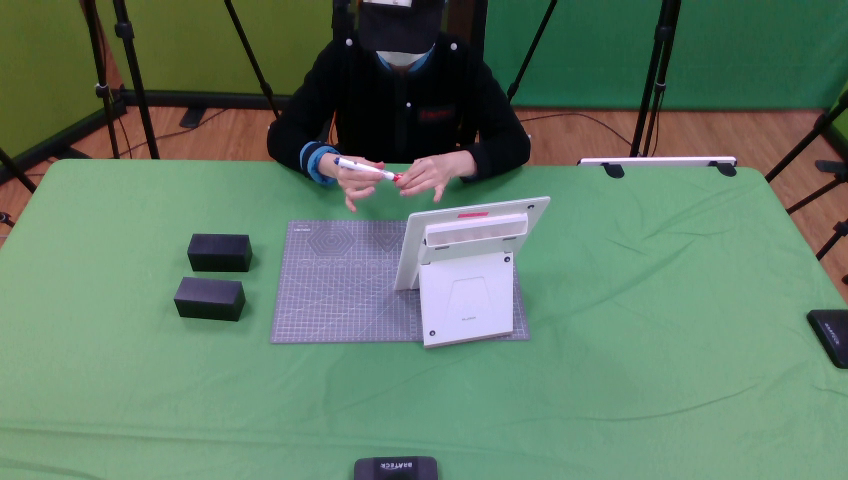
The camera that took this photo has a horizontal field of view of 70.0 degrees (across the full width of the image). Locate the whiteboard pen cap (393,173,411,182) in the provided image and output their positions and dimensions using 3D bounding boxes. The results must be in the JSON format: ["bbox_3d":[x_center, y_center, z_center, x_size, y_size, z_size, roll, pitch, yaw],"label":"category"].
[{"bbox_3d":[-0.043,-0.120,1.164,0.032,0.017,0.017,-4,47,-14],"label":"whiteboard pen cap"}]

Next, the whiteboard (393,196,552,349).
[{"bbox_3d":[0.077,0.071,0.977,0.217,0.306,0.143,-7,66,-11],"label":"whiteboard"}]

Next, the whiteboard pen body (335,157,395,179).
[{"bbox_3d":[-0.101,-0.133,1.146,0.141,0.017,0.016,13,43,-22],"label":"whiteboard pen body"}]
